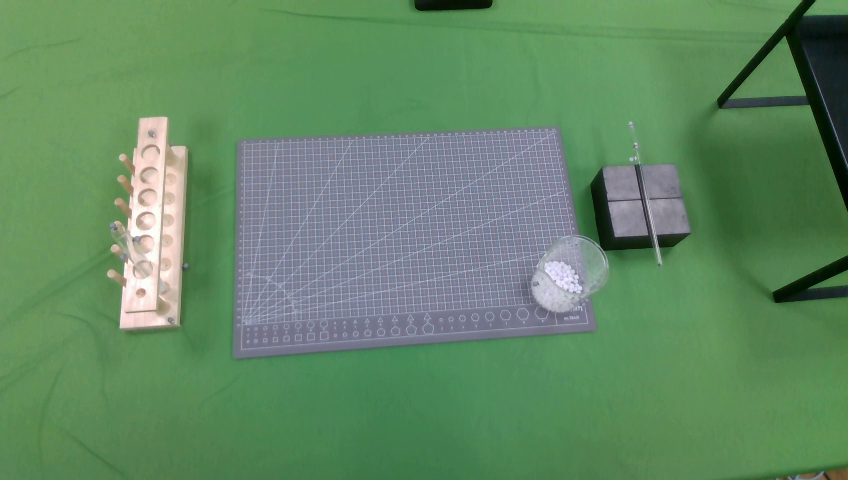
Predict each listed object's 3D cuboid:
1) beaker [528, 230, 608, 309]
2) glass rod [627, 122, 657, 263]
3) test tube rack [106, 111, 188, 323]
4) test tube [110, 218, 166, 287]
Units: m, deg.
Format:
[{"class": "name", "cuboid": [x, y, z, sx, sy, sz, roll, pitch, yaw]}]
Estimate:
[{"class": "beaker", "cuboid": [0.168, 0.041, 0.738, 0.084, 0.101, 0.073, -2, 70, -4]}, {"class": "glass rod", "cuboid": [0.282, -0.065, 0.785, 0.008, 0.008, 0.198, -1, 71, -5]}, {"class": "test tube rack", "cuboid": [-0.337, -0.029, 0.733, 0.067, 0.085, 0.240, -3, 71, -5]}, {"class": "test tube", "cuboid": [-0.311, 0.018, 0.665, 0.017, 0.151, 0.017, 3, 63, -5]}]
